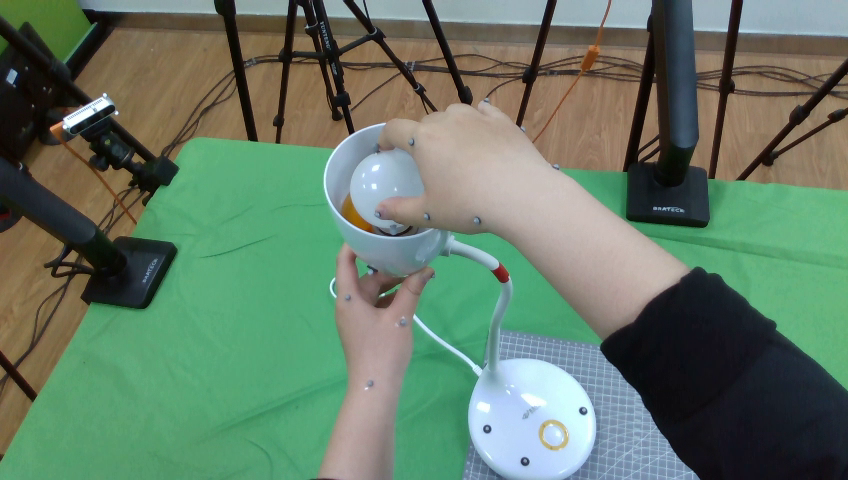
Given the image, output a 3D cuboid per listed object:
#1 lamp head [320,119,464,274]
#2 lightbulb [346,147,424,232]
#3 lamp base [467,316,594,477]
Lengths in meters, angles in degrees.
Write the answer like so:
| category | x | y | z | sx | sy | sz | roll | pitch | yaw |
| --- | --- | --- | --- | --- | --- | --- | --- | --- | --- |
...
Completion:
| category | x | y | z | sx | sy | sz | roll | pitch | yaw |
| --- | --- | --- | --- | --- | --- | --- | --- | --- | --- |
| lamp head | -0.021 | -0.022 | 0.512 | 0.112 | 0.124 | 0.111 | -2 | 59 | 4 |
| lightbulb | -0.029 | -0.031 | 0.485 | 0.059 | 0.108 | 0.059 | 0 | 64 | 1 |
| lamp base | 0.116 | 0.170 | 0.714 | 0.177 | 0.182 | 0.160 | 30 | 64 | 28 |
